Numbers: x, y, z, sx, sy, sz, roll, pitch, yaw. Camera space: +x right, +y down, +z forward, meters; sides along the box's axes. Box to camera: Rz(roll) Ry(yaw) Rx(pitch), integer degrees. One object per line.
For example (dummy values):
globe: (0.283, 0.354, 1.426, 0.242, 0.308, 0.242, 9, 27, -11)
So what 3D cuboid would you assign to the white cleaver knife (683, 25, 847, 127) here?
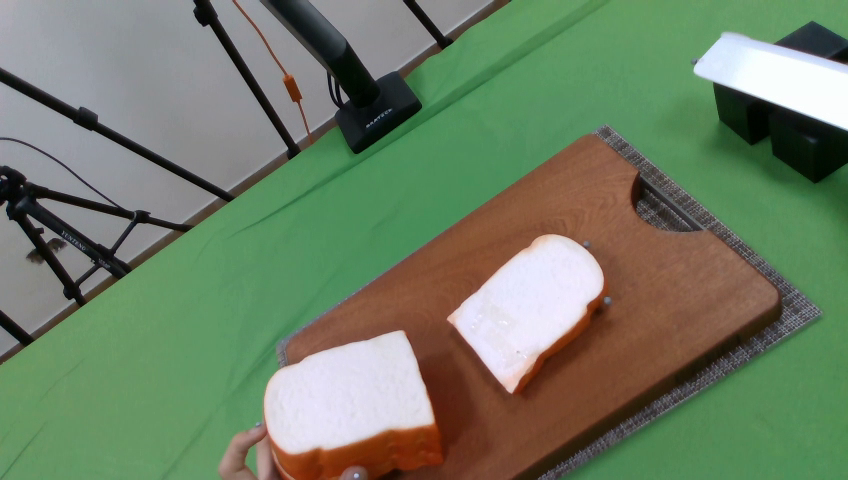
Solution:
white cleaver knife: (0.328, -0.113, 0.461, 0.066, 0.022, 0.283, -43, 50, -4)

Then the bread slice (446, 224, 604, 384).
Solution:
bread slice: (0.092, 0.048, 0.522, 0.131, 0.019, 0.103, -45, 41, 3)

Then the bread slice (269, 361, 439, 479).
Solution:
bread slice: (-0.064, 0.155, 0.523, 0.135, 0.018, 0.106, -4, 39, -15)
